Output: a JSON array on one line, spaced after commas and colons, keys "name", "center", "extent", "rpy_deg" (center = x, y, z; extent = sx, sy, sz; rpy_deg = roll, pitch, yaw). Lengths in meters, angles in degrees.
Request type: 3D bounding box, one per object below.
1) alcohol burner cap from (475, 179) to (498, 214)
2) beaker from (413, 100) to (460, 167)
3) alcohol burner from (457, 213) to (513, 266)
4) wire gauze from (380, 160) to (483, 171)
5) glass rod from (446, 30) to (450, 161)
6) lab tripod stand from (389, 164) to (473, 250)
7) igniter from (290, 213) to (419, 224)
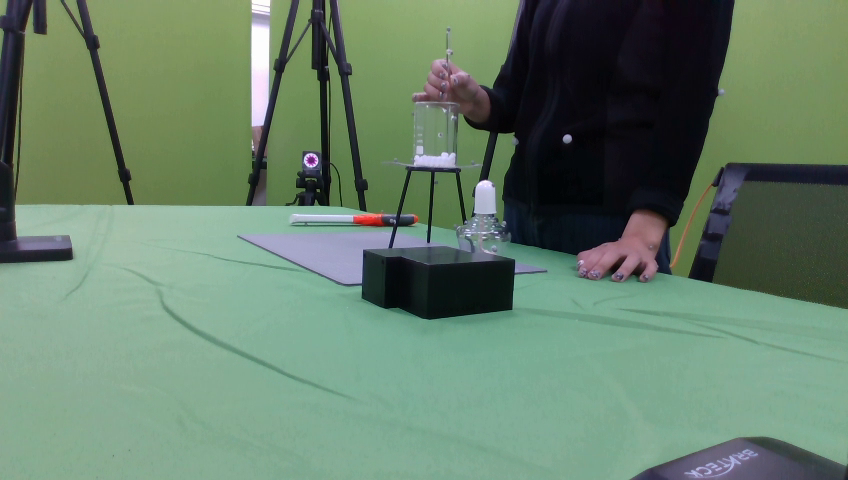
[{"name": "alcohol burner cap", "center": [0.086, -0.061, 0.833], "extent": [0.034, 0.048, 0.034], "rpy_deg": [0, 11, 0]}, {"name": "beaker", "center": [0.020, -0.167, 0.953], "extent": [0.073, 0.100, 0.084], "rpy_deg": [6, 9, 26]}, {"name": "alcohol burner", "center": [0.084, -0.025, 0.837], "extent": [0.078, 0.119, 0.078], "rpy_deg": [0, 8, 0]}, {"name": "wire gauze", "center": [0.011, -0.118, 0.951], "extent": [0.122, 0.011, 0.124], "rpy_deg": [-5, 12, -32]}, {"name": "glass rod", "center": [0.038, -0.224, 0.942], "extent": [0.008, 0.199, 0.008], "rpy_deg": [0, 8, 0]}, {"name": "lab tripod stand", "center": [0.011, -0.053, 0.960], "extent": [0.148, 0.131, 0.148], "rpy_deg": [2, 9, 0]}, {"name": "igniter", "center": [-0.143, -0.046, 1.288], "extent": [0.278, 0.025, 0.057], "rpy_deg": [-1, -3, -24]}]
